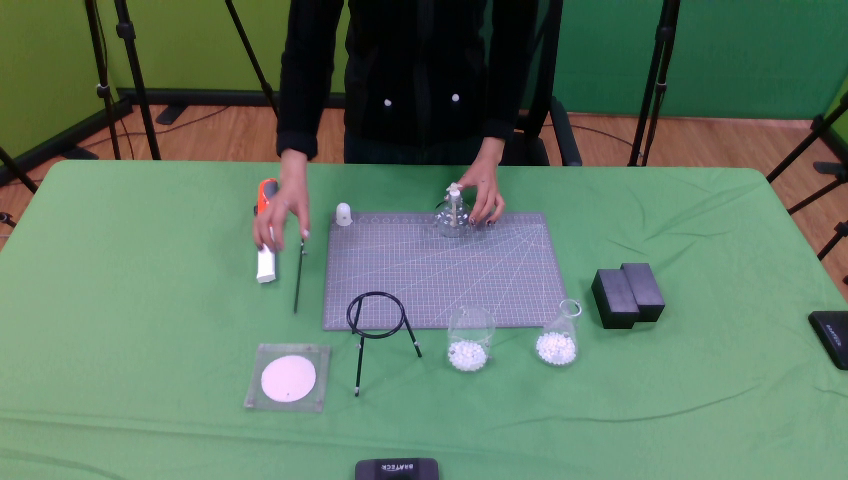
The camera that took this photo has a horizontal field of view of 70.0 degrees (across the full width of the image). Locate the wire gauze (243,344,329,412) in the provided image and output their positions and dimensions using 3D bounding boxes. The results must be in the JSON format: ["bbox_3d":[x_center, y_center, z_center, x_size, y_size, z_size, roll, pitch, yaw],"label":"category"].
[{"bbox_3d":[-0.221,0.219,0.981,0.125,0.011,0.120,2,45,0],"label":"wire gauze"}]

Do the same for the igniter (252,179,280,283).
[{"bbox_3d":[-0.312,-0.027,1.197,0.057,0.025,0.274,-11,47,-2],"label":"igniter"}]

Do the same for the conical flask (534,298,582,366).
[{"bbox_3d":[0.229,0.149,1.005,0.075,0.122,0.075,2,46,-2],"label":"conical flask"}]

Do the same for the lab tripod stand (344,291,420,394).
[{"bbox_3d":[-0.075,0.155,0.967,0.148,0.132,0.147,3,44,-3],"label":"lab tripod stand"}]

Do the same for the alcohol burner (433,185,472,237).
[{"bbox_3d":[0.057,-0.062,1.198,0.078,0.120,0.077,1,48,-1],"label":"alcohol burner"}]

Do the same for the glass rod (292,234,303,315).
[{"bbox_3d":[-0.236,0.060,1.133,0.008,0.008,0.198,-1,46,-4],"label":"glass rod"}]

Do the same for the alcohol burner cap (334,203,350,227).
[{"bbox_3d":[-0.166,-0.053,1.220,0.034,0.048,0.033,2,47,-2],"label":"alcohol burner cap"}]

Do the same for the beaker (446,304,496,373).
[{"bbox_3d":[0.072,0.166,0.992,0.084,0.101,0.073,-21,51,-22],"label":"beaker"}]
